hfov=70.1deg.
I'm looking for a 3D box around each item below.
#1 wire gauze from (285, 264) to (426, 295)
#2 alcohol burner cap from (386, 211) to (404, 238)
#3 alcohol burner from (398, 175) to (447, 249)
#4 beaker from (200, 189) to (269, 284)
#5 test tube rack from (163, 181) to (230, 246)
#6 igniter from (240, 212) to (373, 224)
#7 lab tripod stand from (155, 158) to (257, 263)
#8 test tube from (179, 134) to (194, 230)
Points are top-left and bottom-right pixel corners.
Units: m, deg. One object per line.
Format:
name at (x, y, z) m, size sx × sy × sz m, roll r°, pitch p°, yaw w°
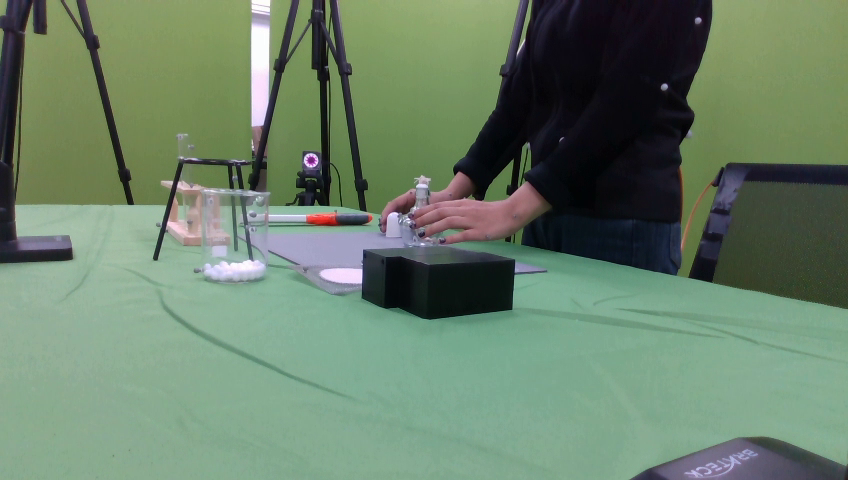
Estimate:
wire gauze at (-0.079, 0.039, 0.692) m, size 0.122 × 0.011 × 0.124 m, roll -4°, pitch 11°, yaw -37°
alcohol burner cap at (-0.053, -0.029, 1.107) m, size 0.034 × 0.048 × 0.034 m, roll 1°, pitch 9°, yaw 0°
alcohol burner at (-0.002, -0.046, 0.973) m, size 0.078 × 0.119 × 0.078 m, roll 1°, pitch 7°, yaw 0°
beaker at (-0.209, -0.006, 0.676) m, size 0.073 × 0.100 × 0.084 m, roll 7°, pitch 8°, yaw 28°
test tube rack at (-0.387, -0.050, 1.015) m, size 0.067 × 0.085 × 0.241 m, roll -2°, pitch 9°, yaw -30°
igniter at (-0.237, -0.045, 1.250) m, size 0.278 × 0.025 × 0.057 m, roll -2°, pitch -2°, yaw -31°
lab tripod stand at (-0.275, -0.041, 0.797) m, size 0.148 × 0.131 × 0.148 m, roll 2°, pitch 9°, yaw 0°
test tube at (-0.366, -0.089, 0.938) m, size 0.017 × 0.150 × 0.017 m, roll -1°, pitch 9°, yaw 1°
